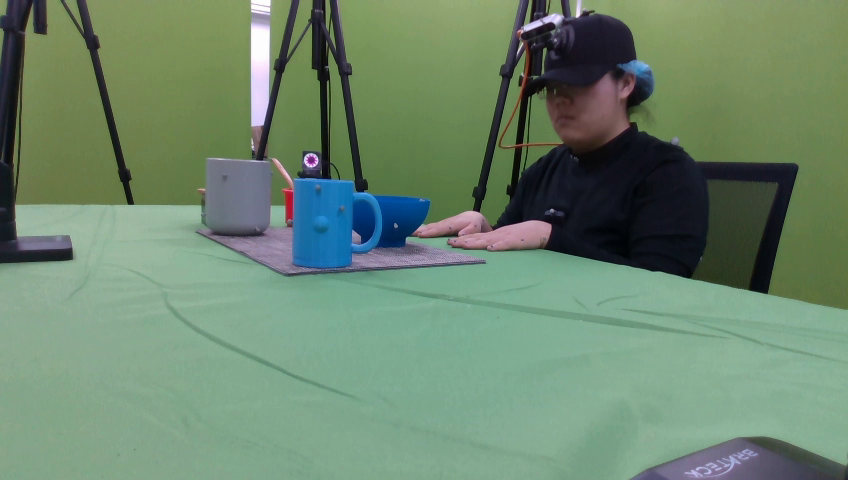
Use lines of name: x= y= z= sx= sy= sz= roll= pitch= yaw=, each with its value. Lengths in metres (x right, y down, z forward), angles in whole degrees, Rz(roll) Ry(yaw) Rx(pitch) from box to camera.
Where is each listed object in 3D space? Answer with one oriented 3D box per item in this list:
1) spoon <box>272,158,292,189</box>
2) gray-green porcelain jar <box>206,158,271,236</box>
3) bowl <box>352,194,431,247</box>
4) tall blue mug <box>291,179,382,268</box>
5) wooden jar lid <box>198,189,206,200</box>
spoon: x=-0.268 y=-0.103 z=1.236 sx=0.042 sy=0.193 sz=0.021 roll=-10 pitch=-32 yaw=-40
gray-green porcelain jar: x=-0.316 y=-0.074 z=1.032 sx=0.106 sy=0.126 sz=0.106 roll=3 pitch=7 yaw=0
bowl: x=-0.066 y=-0.031 z=0.984 sx=0.151 sy=0.077 sz=0.151 roll=2 pitch=7 yaw=0
tall blue mug: x=-0.116 y=-0.023 z=0.779 sx=0.108 sy=0.108 sz=0.077 roll=-2 pitch=8 yaw=-33
wooden jar lid: x=-0.382 y=-0.088 z=1.175 sx=0.108 sy=0.020 sz=0.108 roll=3 pitch=8 yaw=0
